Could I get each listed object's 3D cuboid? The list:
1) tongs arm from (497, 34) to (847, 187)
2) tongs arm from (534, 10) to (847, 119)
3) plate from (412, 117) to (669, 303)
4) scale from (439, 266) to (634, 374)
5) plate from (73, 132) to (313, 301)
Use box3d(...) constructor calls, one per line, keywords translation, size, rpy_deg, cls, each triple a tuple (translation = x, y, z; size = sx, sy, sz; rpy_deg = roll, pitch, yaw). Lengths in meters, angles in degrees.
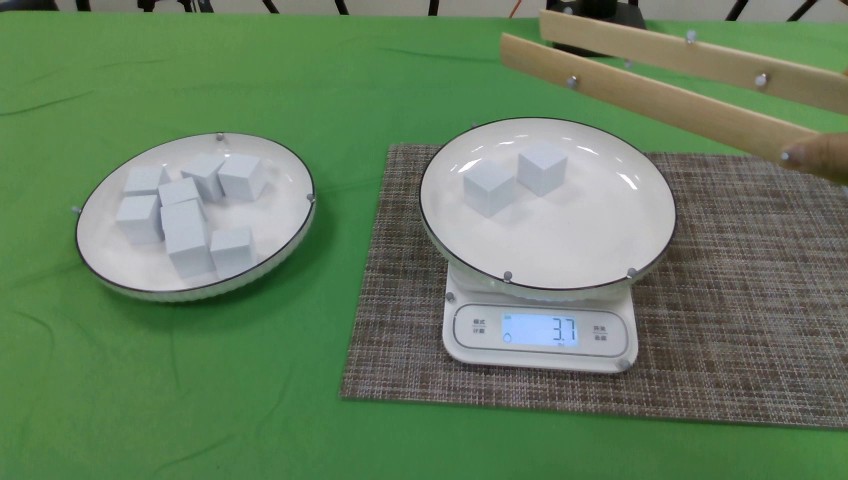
box3d(translation=(0.194, -0.062, 0.337), size=(0.384, 0.028, 0.028), rpy_deg=(30, 54, 34), cls="tongs arm")
box3d(translation=(0.215, -0.078, 0.349), size=(0.381, 0.027, 0.050), rpy_deg=(27, 56, 32), cls="tongs arm")
box3d(translation=(0.094, -0.026, 0.508), size=(0.208, 0.039, 0.205), rpy_deg=(0, 47, 0), cls="plate")
box3d(translation=(0.093, 0.017, 0.513), size=(0.148, 0.032, 0.199), rpy_deg=(3, 48, 5), cls="scale")
box3d(translation=(-0.204, -0.022, 0.557), size=(0.209, 0.038, 0.207), rpy_deg=(0, 47, 1), cls="plate")
